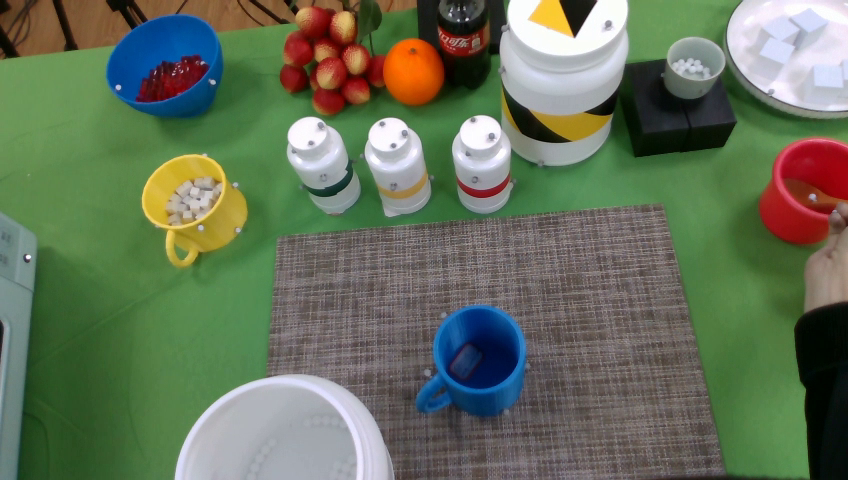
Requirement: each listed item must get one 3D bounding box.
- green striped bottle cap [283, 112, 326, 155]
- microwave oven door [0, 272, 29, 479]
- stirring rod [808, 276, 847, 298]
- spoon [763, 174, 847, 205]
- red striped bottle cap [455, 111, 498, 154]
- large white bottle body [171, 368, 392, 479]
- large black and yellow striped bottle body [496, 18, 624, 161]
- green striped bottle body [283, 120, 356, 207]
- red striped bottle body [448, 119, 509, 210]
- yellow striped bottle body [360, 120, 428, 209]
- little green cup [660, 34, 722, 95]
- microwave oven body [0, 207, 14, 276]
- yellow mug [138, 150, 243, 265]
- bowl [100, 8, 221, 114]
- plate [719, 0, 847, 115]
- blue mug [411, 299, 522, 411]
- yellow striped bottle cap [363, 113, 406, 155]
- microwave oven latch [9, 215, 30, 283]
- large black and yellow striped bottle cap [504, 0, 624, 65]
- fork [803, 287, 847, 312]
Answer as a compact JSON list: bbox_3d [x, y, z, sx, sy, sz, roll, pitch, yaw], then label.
[{"bbox_3d":[-0.128,-0.114,0.645,0.044,0.020,0.044,-2,64,5],"label":"green striped bottle cap"},{"bbox_3d":[-0.457,0.162,0.528,0.039,0.246,0.352,-14,64,1],"label":"microwave oven door"},{"bbox_3d":[0.424,0.062,0.542,0.014,0.006,0.174,-26,21,-9],"label":"stirring rod"},{"bbox_3d":[0.409,-0.036,0.588,0.041,0.022,0.192,-26,20,-5],"label":"spoon"},{"bbox_3d":[0.054,-0.111,0.621,0.044,0.018,0.044,-1,64,2],"label":"red striped bottle cap"},{"bbox_3d":[-0.091,0.165,0.427,0.130,0.186,0.129,0,65,-1],"label":"large white bottle body"},{"bbox_3d":[0.145,-0.187,0.668,0.130,0.185,0.129,-3,65,6],"label":"large black and yellow striped bottle body"},{"bbox_3d":[-0.120,-0.091,0.692,0.063,0.120,0.062,-3,65,6],"label":"green striped bottle body"},{"bbox_3d":[0.061,-0.088,0.668,0.063,0.121,0.062,-4,64,8],"label":"red striped bottle body"},{"bbox_3d":[-0.034,-0.089,0.680,0.063,0.121,0.062,-3,64,7],"label":"yellow striped bottle body"},{"bbox_3d":[0.295,-0.194,0.677,0.061,0.039,0.061,-2,63,4],"label":"little green cup"},{"bbox_3d":[-0.606,0.161,0.553,0.326,0.262,0.437,-13,65,0],"label":"microwave oven body"},{"bbox_3d":[-0.278,-0.034,0.714,0.100,0.064,0.130,4,66,9],"label":"yellow mug"},{"bbox_3d":[-0.332,-0.221,0.802,0.151,0.077,0.150,-2,65,6],"label":"bowl"},{"bbox_3d":[0.463,-0.233,0.732,0.209,0.038,0.207,-3,65,6],"label":"plate"},{"bbox_3d":[0.038,0.122,0.578,0.116,0.107,0.081,-34,65,-8],"label":"blue mug"},{"bbox_3d":[-0.041,-0.111,0.633,0.044,0.019,0.044,-1,61,2],"label":"yellow striped bottle cap"},{"bbox_3d":[-0.486,0.013,0.713,0.030,0.030,0.078,-12,65,1],"label":"microwave oven latch"},{"bbox_3d":[0.136,-0.222,0.590,0.115,0.019,0.114,-4,66,9],"label":"large black and yellow striped bottle cap"},{"bbox_3d":[0.452,0.049,0.539,0.206,0.019,0.028,-11,48,53],"label":"fork"}]
